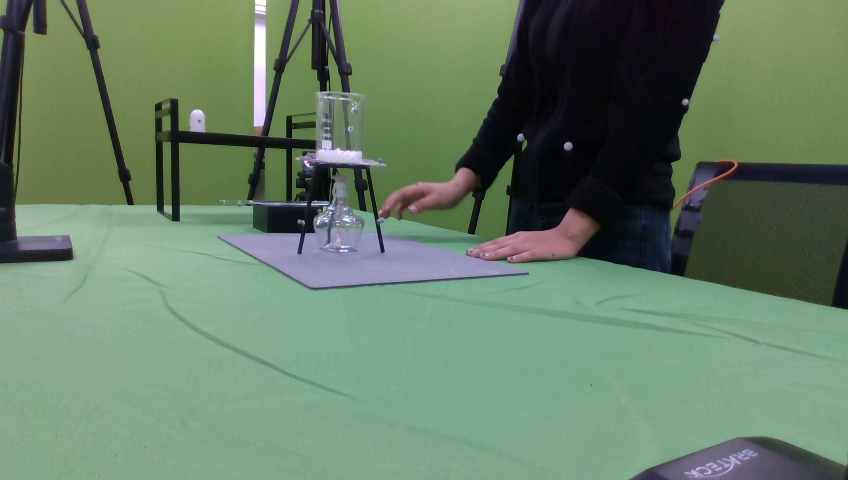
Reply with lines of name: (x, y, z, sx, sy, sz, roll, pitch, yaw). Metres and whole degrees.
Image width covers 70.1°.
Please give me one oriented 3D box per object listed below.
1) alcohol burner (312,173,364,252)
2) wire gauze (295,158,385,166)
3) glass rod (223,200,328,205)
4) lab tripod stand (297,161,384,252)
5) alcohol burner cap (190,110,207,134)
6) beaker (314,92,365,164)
alcohol burner: (-0.129, -0.042, 0.910, 0.078, 0.119, 0.078, 4, 9, 0)
wire gauze: (-0.128, -0.117, 0.901, 0.125, 0.011, 0.121, -2, 8, -14)
glass rod: (-0.276, -0.071, 1.141, 0.201, 0.008, 0.008, -1, 8, -28)
lab tripod stand: (-0.130, -0.051, 0.903, 0.148, 0.131, 0.148, 3, 9, 0)
alcohol burner cap: (-0.463, -0.242, 1.240, 0.034, 0.048, 0.034, 2, 7, 0)
beaker: (-0.123, -0.163, 0.893, 0.073, 0.100, 0.084, 7, 9, 31)
